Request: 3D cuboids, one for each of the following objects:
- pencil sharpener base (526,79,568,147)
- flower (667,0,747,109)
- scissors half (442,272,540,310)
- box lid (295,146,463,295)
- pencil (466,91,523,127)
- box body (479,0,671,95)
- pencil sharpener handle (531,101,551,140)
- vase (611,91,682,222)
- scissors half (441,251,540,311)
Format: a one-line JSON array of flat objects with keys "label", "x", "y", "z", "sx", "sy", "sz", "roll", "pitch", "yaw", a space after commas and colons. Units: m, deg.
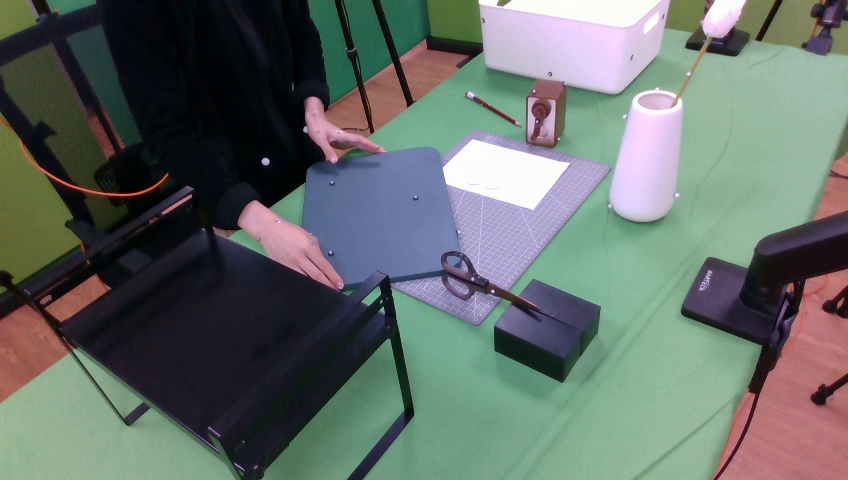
[{"label": "pencil sharpener base", "x": 0.234, "y": -0.242, "z": 1.160, "sx": 0.061, "sy": 0.107, "sz": 0.077, "roll": 12, "pitch": 45, "yaw": 21}, {"label": "flower", "x": 0.354, "y": -0.187, "z": 0.879, "sx": 0.038, "sy": 0.362, "sz": 0.044, "roll": 30, "pitch": 48, "yaw": 14}, {"label": "scissors half", "x": 0.089, "y": 0.074, "z": 0.832, "sx": 0.013, "sy": 0.040, "sz": 0.173, "roll": -24, "pitch": 23, "yaw": -38}, {"label": "box lid", "x": -0.084, "y": -0.048, "z": 1.052, "sx": 0.263, "sy": 0.015, "sz": 0.369, "roll": -9, "pitch": 40, "yaw": 0}, {"label": "pencil", "x": 0.149, "y": -0.282, "z": 1.295, "sx": 0.012, "sy": 0.012, "sz": 0.192, "roll": -26, "pitch": 45, "yaw": -21}, {"label": "box body", "x": 0.339, "y": -0.480, "z": 1.381, "sx": 0.361, "sy": 0.161, "sz": 0.255, "roll": 22, "pitch": 48, "yaw": 30}, {"label": "pencil sharpener handle", "x": 0.211, "y": -0.220, "z": 1.118, "sx": 0.036, "sy": 0.068, "sz": 0.030, "roll": 17, "pitch": 46, "yaw": 17}, {"label": "vase", "x": 0.348, "y": -0.125, "z": 0.935, "sx": 0.098, "sy": 0.201, "sz": 0.097, "roll": -3, "pitch": 40, "yaw": 3}, {"label": "scissors half", "x": 0.087, "y": 0.056, "z": 0.824, "sx": 0.013, "sy": 0.040, "sz": 0.173, "roll": -30, "pitch": 44, "yaw": -35}]
